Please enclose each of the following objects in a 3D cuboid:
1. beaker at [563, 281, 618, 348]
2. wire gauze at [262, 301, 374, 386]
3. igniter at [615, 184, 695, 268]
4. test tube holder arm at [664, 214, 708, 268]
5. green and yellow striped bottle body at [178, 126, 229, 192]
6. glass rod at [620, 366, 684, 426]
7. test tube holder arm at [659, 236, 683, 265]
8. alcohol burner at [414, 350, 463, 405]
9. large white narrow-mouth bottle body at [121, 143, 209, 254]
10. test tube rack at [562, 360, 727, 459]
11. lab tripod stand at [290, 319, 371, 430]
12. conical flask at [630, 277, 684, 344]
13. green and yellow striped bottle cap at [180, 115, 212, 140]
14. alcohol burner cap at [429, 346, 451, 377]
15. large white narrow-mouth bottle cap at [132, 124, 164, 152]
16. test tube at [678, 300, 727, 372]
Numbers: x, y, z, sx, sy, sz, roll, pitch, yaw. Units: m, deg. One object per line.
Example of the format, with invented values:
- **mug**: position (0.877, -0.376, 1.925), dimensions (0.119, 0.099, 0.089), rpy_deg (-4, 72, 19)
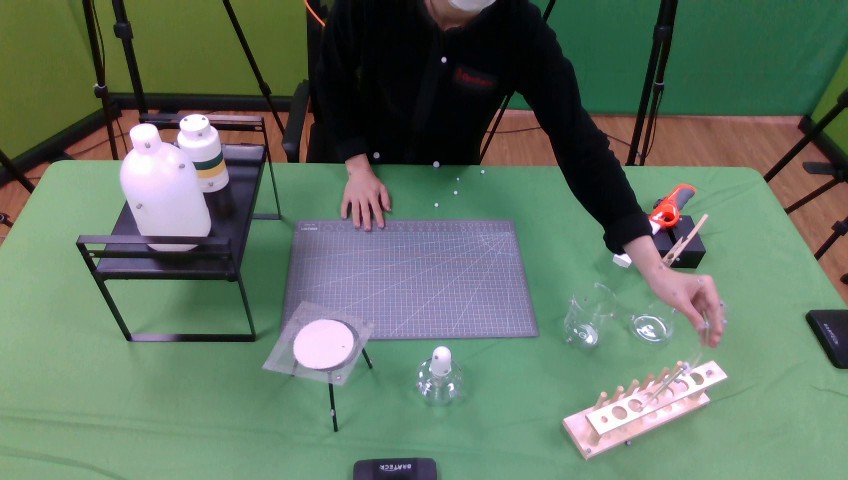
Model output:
- **beaker**: position (0.283, 0.129, 1.041), dimensions (0.074, 0.101, 0.083), rpy_deg (11, 46, 7)
- **wire gauze**: position (-0.151, 0.148, 0.873), dimensions (0.121, 0.011, 0.124), rpy_deg (14, 46, 12)
- **igniter**: position (0.459, -0.035, 1.196), dimensions (0.057, 0.025, 0.276), rpy_deg (33, 56, 27)
- **test tube holder arm**: position (0.507, 0.000, 1.170), dimensions (0.013, 0.015, 0.178), rpy_deg (35, 54, 25)
- **green and yellow striped bottle body**: position (-0.361, -0.142, 0.989), dimensions (0.063, 0.120, 0.063), rpy_deg (2, 46, -2)
- **glass rod**: position (0.322, 0.227, 0.866), dimensions (0.008, 0.200, 0.008), rpy_deg (6, 52, -7)
- **test tube holder arm**: position (0.472, 0.020, 1.149), dimensions (0.010, 0.015, 0.088), rpy_deg (37, 55, 27)
- **alcohol burner**: position (0.023, 0.205, 0.939), dimensions (0.078, 0.120, 0.077), rpy_deg (1, 47, -1)
- **large white narrow-mouth bottle body**: position (-0.377, -0.077, 0.875), dimensions (0.102, 0.195, 0.101), rpy_deg (3, 46, -3)
- **test tube rack**: position (0.341, 0.247, 0.940), dimensions (0.243, 0.085, 0.066), rpy_deg (-16, 49, -18)
- **lab tripod stand**: position (-0.146, 0.194, 0.923), dimensions (0.148, 0.132, 0.147), rpy_deg (1, 47, -1)
- **conical flask**: position (0.409, 0.117, 1.045), dimensions (0.075, 0.122, 0.075), rpy_deg (2, 46, -2)
- **green and yellow striped bottle cap**: position (-0.358, -0.177, 0.951), dimensions (0.045, 0.020, 0.045), rpy_deg (1, 44, -1)
- **alcohol burner cap**: position (0.026, 0.180, 0.912), dimensions (0.034, 0.048, 0.033), rpy_deg (2, 47, -1)
- **large white narrow-mouth bottle cap**: position (-0.370, -0.137, 0.813), dimensions (0.038, 0.024, 0.037), rpy_deg (3, 46, -3)
- **test tube**: position (0.393, 0.140, 0.863), dimensions (0.017, 0.151, 0.017), rpy_deg (3, 43, -3)
